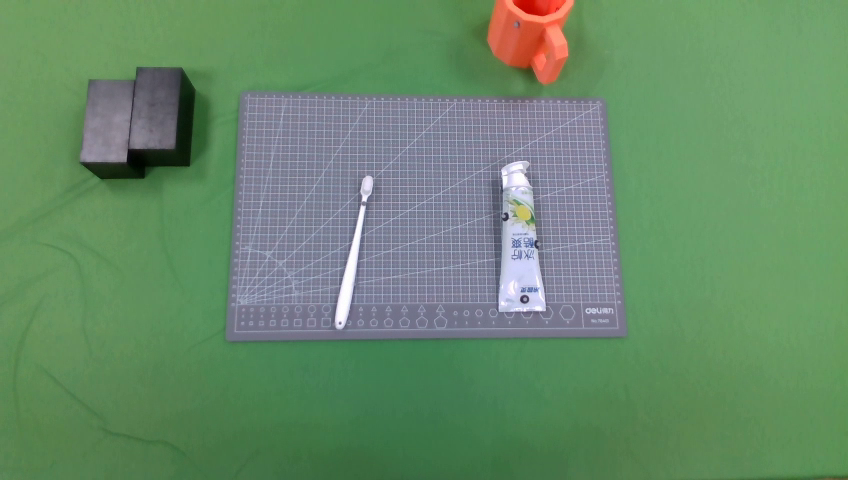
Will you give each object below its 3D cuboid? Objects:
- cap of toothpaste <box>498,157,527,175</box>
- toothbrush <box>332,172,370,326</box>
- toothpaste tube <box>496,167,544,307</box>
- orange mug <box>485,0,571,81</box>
[{"bbox_3d":[0.105,-0.086,0.714,0.037,0.037,0.011,-12,74,-7],"label":"cap of toothpaste"},{"bbox_3d":[-0.082,0.008,0.689,0.014,0.016,0.181,13,77,-14],"label":"toothbrush"},{"bbox_3d":[0.106,-0.005,0.701,0.055,0.034,0.164,-3,80,3],"label":"toothpaste tube"},{"bbox_3d":[0.131,-0.260,0.730,0.083,0.101,0.125,-21,74,-9],"label":"orange mug"}]
